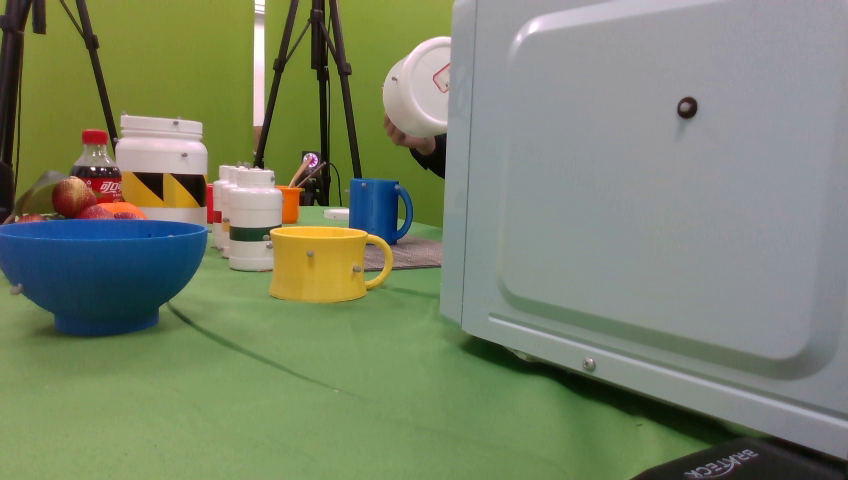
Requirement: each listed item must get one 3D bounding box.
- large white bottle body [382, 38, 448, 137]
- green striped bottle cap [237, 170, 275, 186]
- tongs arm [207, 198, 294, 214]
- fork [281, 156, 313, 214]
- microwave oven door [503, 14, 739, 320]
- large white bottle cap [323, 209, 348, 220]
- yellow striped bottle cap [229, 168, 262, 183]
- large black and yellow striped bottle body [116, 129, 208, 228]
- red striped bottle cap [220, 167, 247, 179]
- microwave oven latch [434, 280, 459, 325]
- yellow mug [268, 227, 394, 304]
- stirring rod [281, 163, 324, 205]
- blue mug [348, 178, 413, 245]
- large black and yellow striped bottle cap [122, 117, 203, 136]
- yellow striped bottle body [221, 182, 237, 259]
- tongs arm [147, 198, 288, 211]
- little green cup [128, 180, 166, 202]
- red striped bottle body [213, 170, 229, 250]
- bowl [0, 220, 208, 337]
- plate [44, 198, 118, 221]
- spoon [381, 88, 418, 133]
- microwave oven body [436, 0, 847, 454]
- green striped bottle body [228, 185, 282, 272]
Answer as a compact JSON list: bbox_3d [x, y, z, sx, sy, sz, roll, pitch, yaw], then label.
[{"bbox_3d":[0.009,-0.225,0.924,0.131,0.130,0.184,1,6,-15],"label":"large white bottle body"},{"bbox_3d":[-0.205,-0.075,0.737,0.044,0.020,0.044,1,6,0],"label":"green striped bottle cap"},{"bbox_3d":[-0.423,-0.084,1.472,0.050,0.026,0.386,1,6,22],"label":"tongs arm"},{"bbox_3d":[-0.289,-0.116,1.320,0.028,0.019,0.207,-3,48,28],"label":"fork"},{"bbox_3d":[0.218,-0.065,0.600,0.358,0.243,0.039,-4,10,-41],"label":"microwave oven door"},{"bbox_3d":[-0.184,-0.062,1.450,0.115,0.018,0.115,2,8,0],"label":"large white bottle cap"},{"bbox_3d":[-0.240,-0.087,0.816,0.044,0.018,0.044,-2,5,1],"label":"yellow striped bottle cap"},{"bbox_3d":[-0.404,-0.089,0.937,0.131,0.184,0.130,3,7,0],"label":"large black and yellow striped bottle body"},{"bbox_3d":[-0.281,-0.099,0.901,0.044,0.017,0.044,-1,5,0],"label":"red striped bottle cap"},{"bbox_3d":[0.044,0.045,0.470,0.079,0.029,0.030,-2,8,-39],"label":"microwave oven latch"},{"bbox_3d":[-0.094,0.023,0.629,0.131,0.064,0.099,0,7,-22],"label":"yellow mug"},{"bbox_3d":[-0.278,-0.105,1.293,0.176,0.006,0.014,-47,25,-18],"label":"stirring rod"},{"bbox_3d":[-0.071,-0.047,1.003,0.116,0.106,0.082,7,9,26],"label":"blue mug"},{"bbox_3d":[-0.399,-0.174,0.927,0.115,0.019,0.115,5,9,-1],"label":"large black and yellow striped bottle cap"},{"bbox_3d":[-0.244,-0.035,0.823,0.063,0.120,0.063,2,8,0],"label":"yellow striped bottle body"},{"bbox_3d":[-0.503,-0.090,1.513,0.028,0.028,0.389,-1,3,38],"label":"tongs arm"},{"bbox_3d":[-0.485,-0.087,1.062,0.061,0.038,0.061,-1,6,0],"label":"little green cup"},{"bbox_3d":[-0.283,-0.047,0.909,0.063,0.119,0.063,3,13,0],"label":"red striped bottle body"},{"bbox_3d":[-0.251,0.029,0.479,0.151,0.077,0.151,2,7,0],"label":"bowl"},{"bbox_3d":[-0.617,-0.056,1.179,0.209,0.038,0.209,3,7,0],"label":"plate"},{"bbox_3d":[-0.044,-0.222,1.007,0.021,0.042,0.193,-21,33,-4],"label":"spoon"},{"bbox_3d":[0.279,-0.040,0.464,0.444,0.260,0.324,-3,9,-41],"label":"microwave oven body"},{"bbox_3d":[-0.208,-0.023,0.745,0.063,0.119,0.063,3,7,0],"label":"green striped bottle body"}]
